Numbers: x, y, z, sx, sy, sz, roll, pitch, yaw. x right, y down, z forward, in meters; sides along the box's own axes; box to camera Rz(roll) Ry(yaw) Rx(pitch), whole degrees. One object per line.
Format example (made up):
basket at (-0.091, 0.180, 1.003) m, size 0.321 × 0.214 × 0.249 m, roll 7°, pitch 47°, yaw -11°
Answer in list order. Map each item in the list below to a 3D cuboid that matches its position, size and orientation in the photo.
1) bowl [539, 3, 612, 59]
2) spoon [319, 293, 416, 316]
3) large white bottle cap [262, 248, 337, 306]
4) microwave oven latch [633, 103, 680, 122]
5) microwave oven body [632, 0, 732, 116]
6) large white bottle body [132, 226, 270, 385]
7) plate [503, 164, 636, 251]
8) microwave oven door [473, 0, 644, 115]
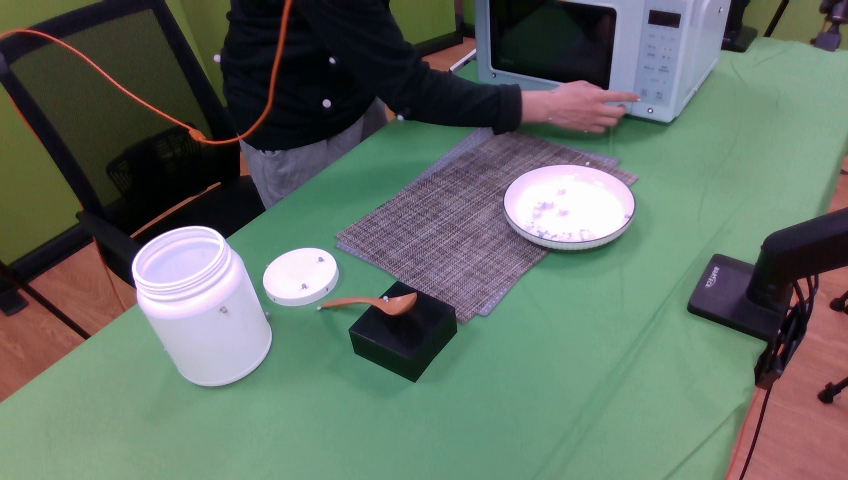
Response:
bowl at (0.323, -0.441, 1.298) m, size 0.151 × 0.077 × 0.150 m, roll -4°, pitch 42°, yaw 4°
spoon at (-0.082, 0.086, 0.826) m, size 0.192 × 0.022 × 0.041 m, roll -3°, pitch 37°, yaw 41°
large white bottle cap at (-0.193, 0.056, 0.934) m, size 0.115 × 0.018 × 0.114 m, roll -4°, pitch 41°, yaw 4°
microwave oven latch at (0.443, -0.249, 1.157) m, size 0.078 × 0.029 × 0.030 m, roll 21°, pitch 48°, yaw 30°
microwave oven body at (0.377, -0.463, 1.267) m, size 0.438 × 0.261 × 0.327 m, roll 21°, pitch 49°, yaw 30°
large white bottle body at (-0.286, 0.084, 0.784) m, size 0.130 × 0.185 × 0.130 m, roll -4°, pitch 41°, yaw 4°
plate at (0.231, -0.050, 0.976) m, size 0.209 × 0.038 × 0.208 m, roll -3°, pitch 41°, yaw 3°
microwave oven door at (0.257, -0.396, 1.199) m, size 0.353 × 0.245 × 0.039 m, roll 21°, pitch 48°, yaw 29°
